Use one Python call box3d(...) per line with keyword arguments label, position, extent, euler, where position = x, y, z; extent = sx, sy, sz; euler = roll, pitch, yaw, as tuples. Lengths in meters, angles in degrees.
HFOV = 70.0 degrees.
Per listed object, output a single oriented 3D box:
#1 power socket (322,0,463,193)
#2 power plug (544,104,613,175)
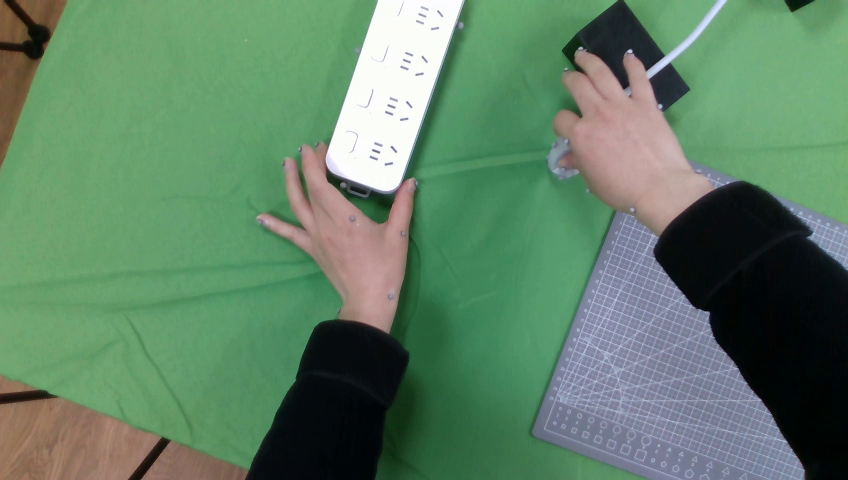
box3d(label="power socket", position=(-0.026, -0.152, 0.544), extent=(0.072, 0.032, 0.226), euler=(20, 90, -5))
box3d(label="power plug", position=(0.143, -0.084, 0.546), extent=(0.072, 0.053, 0.035), euler=(-21, 63, 22))
